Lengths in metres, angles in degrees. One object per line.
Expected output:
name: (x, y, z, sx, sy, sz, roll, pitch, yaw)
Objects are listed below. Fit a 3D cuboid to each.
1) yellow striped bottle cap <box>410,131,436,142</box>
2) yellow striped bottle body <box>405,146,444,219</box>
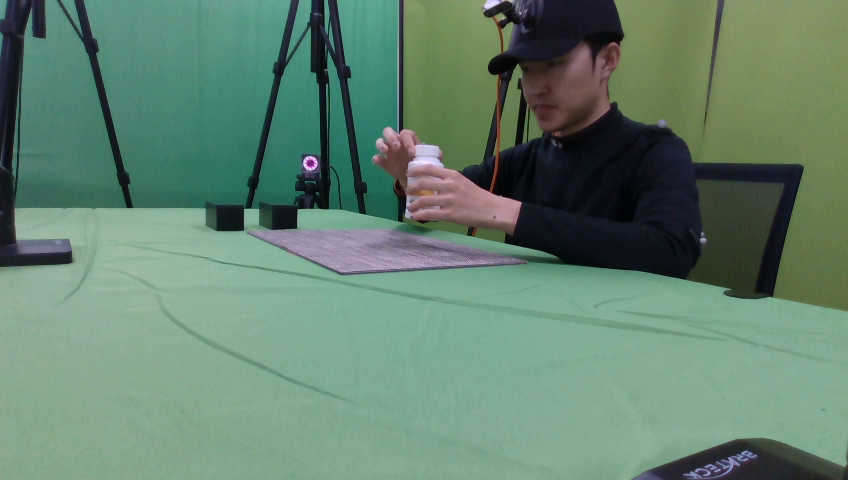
yellow striped bottle cap: (-0.001, -0.176, 1.027, 0.044, 0.018, 0.044, -1, 10, 0)
yellow striped bottle body: (0.001, -0.098, 1.032, 0.063, 0.120, 0.063, 3, 3, 0)
